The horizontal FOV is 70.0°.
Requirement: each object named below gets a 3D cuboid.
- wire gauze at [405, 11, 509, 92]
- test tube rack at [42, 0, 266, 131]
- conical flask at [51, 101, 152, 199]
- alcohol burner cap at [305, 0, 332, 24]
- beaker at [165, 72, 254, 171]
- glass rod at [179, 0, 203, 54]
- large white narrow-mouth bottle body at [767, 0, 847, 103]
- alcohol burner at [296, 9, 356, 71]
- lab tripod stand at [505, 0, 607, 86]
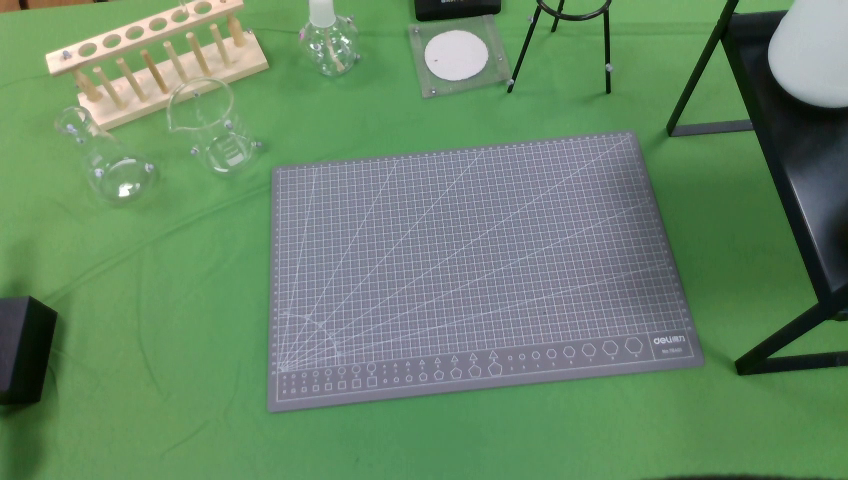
[{"bbox_3d":[0.043,-0.258,0.813,0.121,0.011,0.124,-10,64,-4],"label":"wire gauze"},{"bbox_3d":[-0.336,-0.233,0.773,0.242,0.086,0.066,-24,66,-9],"label":"test tube rack"},{"bbox_3d":[-0.373,-0.106,0.693,0.075,0.123,0.074,-1,64,2],"label":"conical flask"},{"bbox_3d":[-0.129,-0.292,0.738,0.034,0.048,0.033,3,62,-6],"label":"alcohol burner cap"},{"bbox_3d":[-0.250,-0.134,0.715,0.073,0.101,0.084,38,72,19],"label":"beaker"},{"bbox_3d":[-0.295,-0.298,0.729,0.008,0.201,0.008,1,62,-2],"label":"glass rod"},{"bbox_3d":[0.358,-0.205,0.474,0.102,0.196,0.101,-1,62,3],"label":"large white narrow-mouth bottle body"},{"bbox_3d":[-0.127,-0.274,0.770,0.078,0.120,0.077,0,62,1],"label":"alcohol burner"},{"bbox_3d":[0.171,-0.260,0.740,0.148,0.132,0.147,0,63,0],"label":"lab tripod stand"}]
